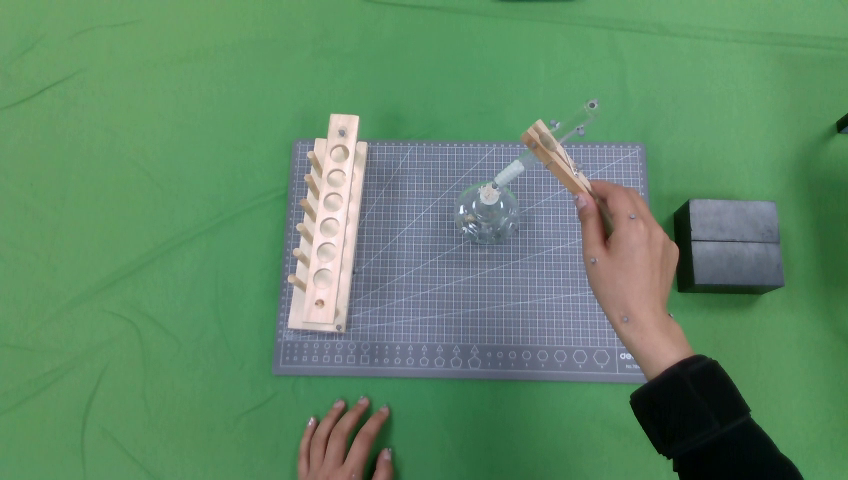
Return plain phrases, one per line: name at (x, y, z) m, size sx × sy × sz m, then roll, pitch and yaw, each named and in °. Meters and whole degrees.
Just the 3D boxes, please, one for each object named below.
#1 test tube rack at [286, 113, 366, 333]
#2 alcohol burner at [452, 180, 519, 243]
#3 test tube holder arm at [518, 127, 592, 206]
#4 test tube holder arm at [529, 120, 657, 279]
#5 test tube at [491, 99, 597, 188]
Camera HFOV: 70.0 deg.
test tube rack at (-0.118, -0.020, 0.706) m, size 0.067 × 0.085 × 0.241 m, roll 5°, pitch 75°, yaw 2°
alcohol burner at (0.071, -0.037, 0.693) m, size 0.078 × 0.119 × 0.077 m, roll 0°, pitch 76°, yaw 2°
test tube holder arm at (0.120, -0.066, 0.547) m, size 0.088 × 0.015 × 0.010 m, roll 45°, pitch 65°, yaw -5°
test tube holder arm at (0.154, -0.036, 0.552) m, size 0.013 × 0.015 × 0.178 m, roll -42°, pitch 93°, yaw -25°
test tube at (0.104, -0.083, 0.552) m, size 0.017 × 0.150 × 0.017 m, roll 10°, pitch 66°, yaw -23°
